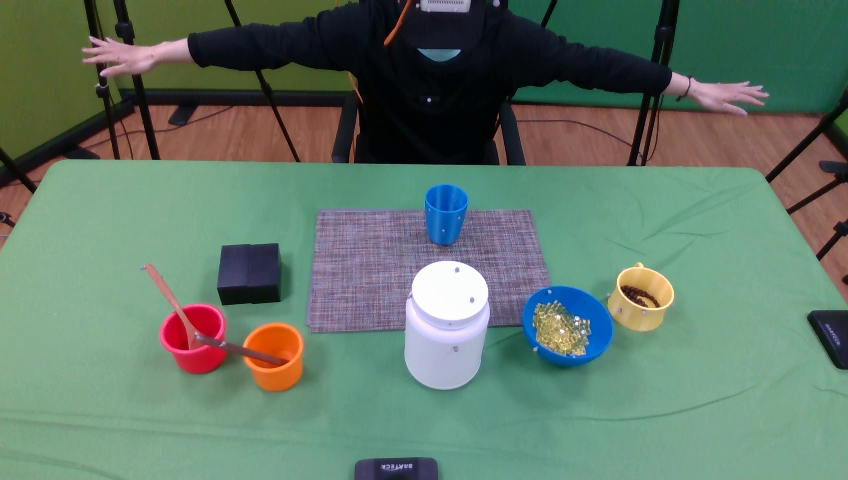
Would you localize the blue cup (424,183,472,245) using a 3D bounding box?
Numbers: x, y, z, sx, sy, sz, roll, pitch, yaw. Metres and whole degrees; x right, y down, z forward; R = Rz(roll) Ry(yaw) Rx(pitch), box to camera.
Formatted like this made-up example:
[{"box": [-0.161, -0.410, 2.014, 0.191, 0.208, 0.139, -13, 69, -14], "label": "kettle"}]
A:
[{"box": [0.040, -0.045, 1.182, 0.093, 0.101, 0.092, 2, 44, -2], "label": "blue cup"}]

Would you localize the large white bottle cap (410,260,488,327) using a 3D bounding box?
[{"box": [0.037, 0.077, 0.893, 0.115, 0.018, 0.114, 2, 47, -2], "label": "large white bottle cap"}]

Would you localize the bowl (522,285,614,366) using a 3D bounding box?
[{"box": [0.235, 0.158, 1.022, 0.151, 0.077, 0.150, 2, 46, -2], "label": "bowl"}]

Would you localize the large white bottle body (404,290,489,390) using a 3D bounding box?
[{"box": [0.033, 0.136, 0.955, 0.131, 0.185, 0.130, 2, 46, -2], "label": "large white bottle body"}]

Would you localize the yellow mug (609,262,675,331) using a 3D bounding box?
[{"box": [0.393, 0.094, 1.103, 0.100, 0.064, 0.130, 7, 45, 3], "label": "yellow mug"}]

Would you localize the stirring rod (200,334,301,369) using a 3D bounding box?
[{"box": [-0.262, 0.173, 0.930, 0.177, 0.006, 0.014, 28, 26, -39], "label": "stirring rod"}]

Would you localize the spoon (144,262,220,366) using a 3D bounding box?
[{"box": [-0.389, 0.118, 0.971, 0.041, 0.021, 0.194, -34, 101, -33], "label": "spoon"}]
